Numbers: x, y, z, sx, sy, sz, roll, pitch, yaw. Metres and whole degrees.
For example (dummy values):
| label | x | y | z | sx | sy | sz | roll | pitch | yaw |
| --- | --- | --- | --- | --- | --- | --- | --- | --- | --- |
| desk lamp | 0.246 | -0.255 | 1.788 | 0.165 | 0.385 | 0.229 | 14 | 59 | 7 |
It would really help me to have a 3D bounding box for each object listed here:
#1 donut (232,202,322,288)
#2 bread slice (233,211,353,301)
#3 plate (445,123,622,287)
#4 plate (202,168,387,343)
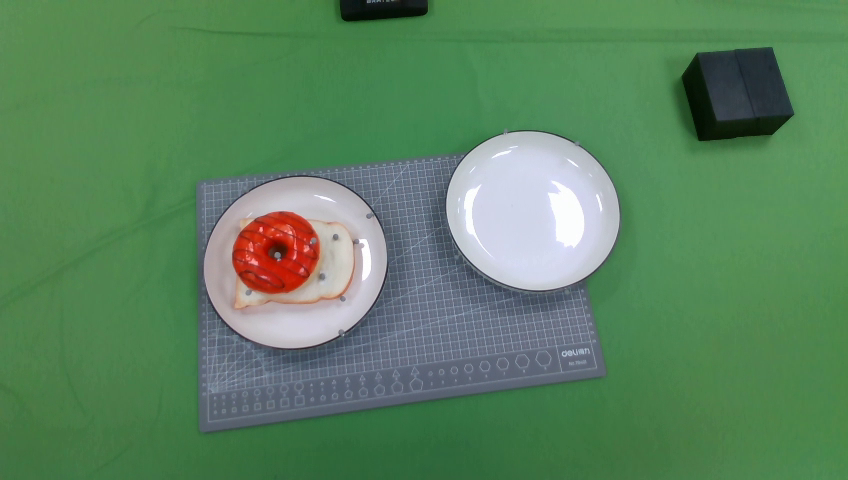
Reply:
| label | x | y | z | sx | sy | sz | roll | pitch | yaw |
| --- | --- | --- | --- | --- | --- | --- | --- | --- | --- |
| donut | -0.163 | 0.005 | 0.672 | 0.099 | 0.048 | 0.098 | 0 | 72 | 0 |
| bread slice | -0.150 | 0.015 | 0.699 | 0.134 | 0.018 | 0.106 | -4 | 72 | -4 |
| plate | 0.128 | -0.041 | 0.725 | 0.208 | 0.039 | 0.206 | 1 | 71 | -1 |
| plate | -0.146 | 0.019 | 0.697 | 0.209 | 0.038 | 0.207 | 1 | 71 | -2 |
